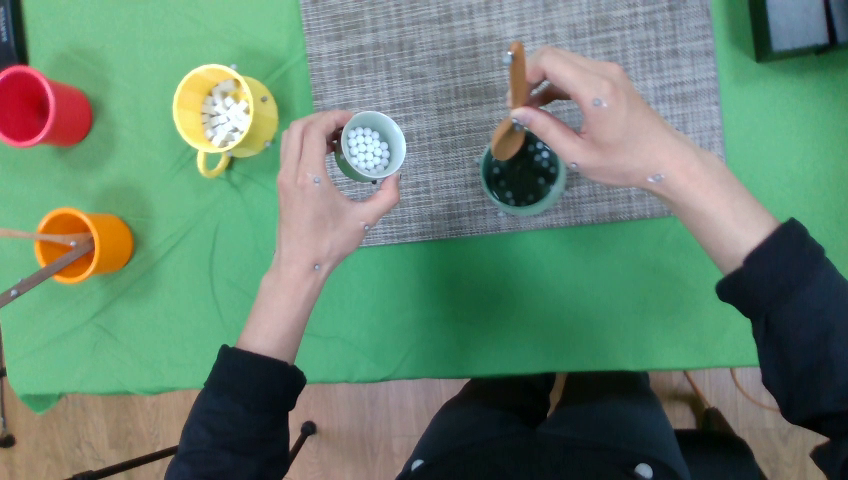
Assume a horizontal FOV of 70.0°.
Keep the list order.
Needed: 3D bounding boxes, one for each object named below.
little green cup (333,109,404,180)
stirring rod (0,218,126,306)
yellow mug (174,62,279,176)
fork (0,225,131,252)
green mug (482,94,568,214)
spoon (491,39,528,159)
[{"bbox_3d":[-0.053,-0.084,0.552,0.062,0.038,0.061,4,81,-22],"label":"little green cup"},{"bbox_3d":[-0.441,0.026,0.732,0.014,0.006,0.176,45,58,4],"label":"stirring rod"},{"bbox_3d":[-0.237,-0.138,0.719,0.100,0.064,0.131,20,98,8],"label":"yellow mug"},{"bbox_3d":[-0.467,-0.008,0.728,0.209,0.018,0.028,9,93,-33],"label":"fork"},{"bbox_3d":[0.108,-0.090,0.634,0.092,0.105,0.125,12,96,10],"label":"green mug"},{"bbox_3d":[0.070,-0.103,0.465,0.041,0.194,0.021,-44,81,-3],"label":"spoon"}]
